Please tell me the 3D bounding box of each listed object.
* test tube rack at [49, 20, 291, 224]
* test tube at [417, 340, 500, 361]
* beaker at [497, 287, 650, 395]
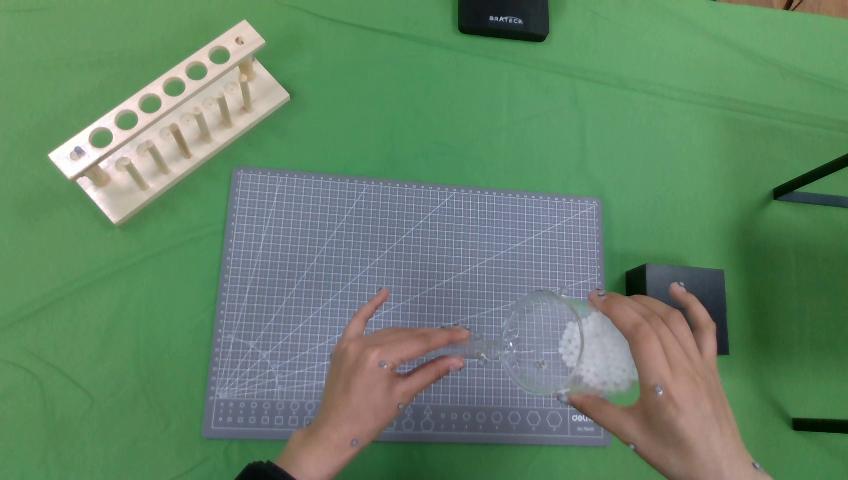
[{"bbox_3d":[-0.263,-0.127,0.659,0.242,0.085,0.066,-42,86,-16],"label":"test tube rack"},{"bbox_3d":[0.025,0.095,0.529,0.017,0.150,0.017,3,80,-21],"label":"test tube"},{"bbox_3d":[0.116,0.082,0.461,0.101,0.084,0.073,14,63,-39],"label":"beaker"}]
